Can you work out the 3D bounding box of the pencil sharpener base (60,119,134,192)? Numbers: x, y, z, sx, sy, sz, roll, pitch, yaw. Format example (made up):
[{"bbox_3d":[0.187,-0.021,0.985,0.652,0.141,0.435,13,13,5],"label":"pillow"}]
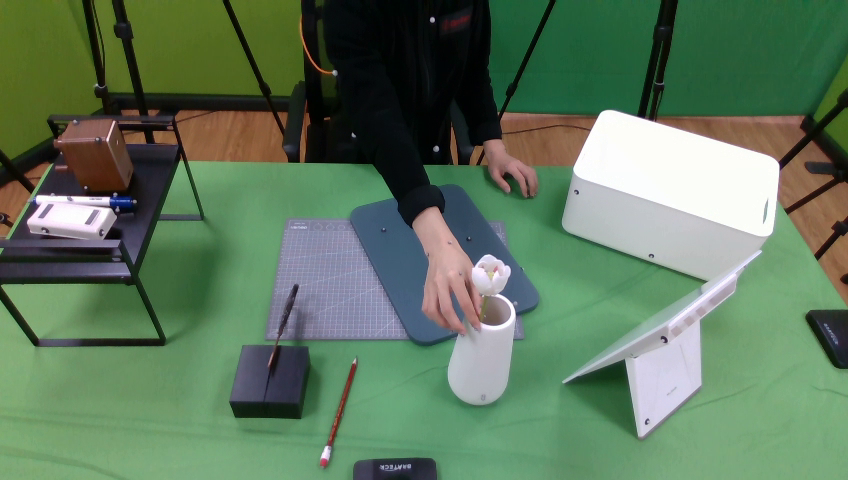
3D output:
[{"bbox_3d":[-0.528,-0.135,0.979,0.077,0.107,0.061,-4,47,-7],"label":"pencil sharpener base"}]

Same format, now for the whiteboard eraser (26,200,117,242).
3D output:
[{"bbox_3d":[-0.532,-0.026,0.919,0.113,0.042,0.055,7,45,3],"label":"whiteboard eraser"}]

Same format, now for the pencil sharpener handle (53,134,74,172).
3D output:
[{"bbox_3d":[-0.577,-0.138,0.961,0.031,0.068,0.036,-4,34,-7],"label":"pencil sharpener handle"}]

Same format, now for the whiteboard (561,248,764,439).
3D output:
[{"bbox_3d":[0.386,0.176,0.905,0.217,0.306,0.143,-26,72,-27],"label":"whiteboard"}]

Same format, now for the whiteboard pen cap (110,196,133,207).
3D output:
[{"bbox_3d":[-0.486,-0.061,0.972,0.033,0.018,0.018,0,47,-9],"label":"whiteboard pen cap"}]

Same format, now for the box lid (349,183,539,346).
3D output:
[{"bbox_3d":[0.030,0.031,1.176,0.263,0.015,0.369,-16,49,-19],"label":"box lid"}]

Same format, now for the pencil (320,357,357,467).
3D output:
[{"bbox_3d":[-0.130,0.261,0.947,0.012,0.012,0.193,10,45,5],"label":"pencil"}]

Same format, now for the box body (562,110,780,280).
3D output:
[{"bbox_3d":[0.486,-0.088,1.222,0.363,0.161,0.253,20,48,15],"label":"box body"}]

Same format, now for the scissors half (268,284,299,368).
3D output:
[{"bbox_3d":[-0.230,0.135,0.986,0.013,0.040,0.174,19,43,-10],"label":"scissors half"}]

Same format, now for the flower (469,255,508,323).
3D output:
[{"bbox_3d":[0.079,0.117,0.852,0.044,0.363,0.038,-6,61,-2],"label":"flower"}]

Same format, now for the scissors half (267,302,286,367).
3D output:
[{"bbox_3d":[-0.238,0.150,0.997,0.013,0.040,0.174,24,24,-13],"label":"scissors half"}]

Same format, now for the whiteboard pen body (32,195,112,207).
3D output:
[{"bbox_3d":[-0.543,-0.061,0.961,0.141,0.017,0.017,1,46,-10],"label":"whiteboard pen body"}]

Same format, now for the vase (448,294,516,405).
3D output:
[{"bbox_3d":[0.091,0.169,0.921,0.098,0.201,0.097,3,47,-3],"label":"vase"}]
